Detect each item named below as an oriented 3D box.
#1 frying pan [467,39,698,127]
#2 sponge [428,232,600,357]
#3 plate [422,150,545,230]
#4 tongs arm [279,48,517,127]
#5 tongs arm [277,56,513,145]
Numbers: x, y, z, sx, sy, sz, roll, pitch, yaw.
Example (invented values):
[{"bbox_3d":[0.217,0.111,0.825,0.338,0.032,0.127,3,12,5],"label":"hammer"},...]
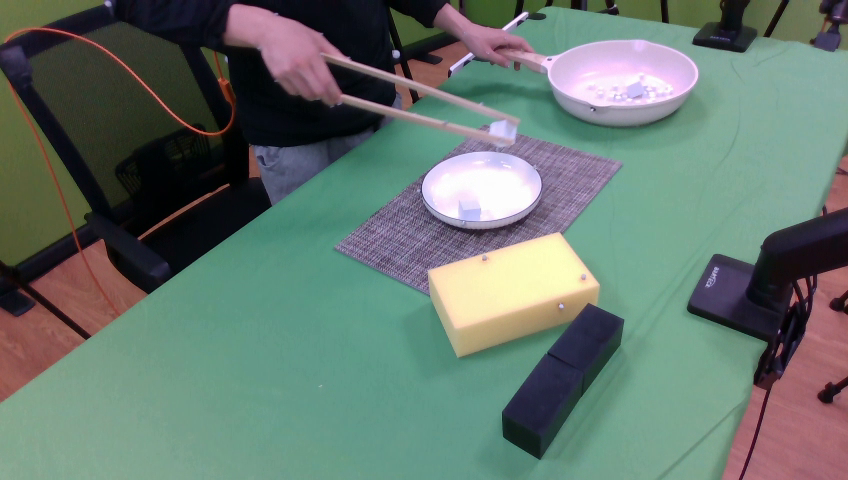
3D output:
[{"bbox_3d":[0.312,-0.359,1.277,0.485,0.103,0.307,23,48,19],"label":"frying pan"},{"bbox_3d":[0.120,0.071,0.834,0.207,0.061,0.117,-16,43,-12],"label":"sponge"},{"bbox_3d":[0.101,-0.082,1.031,0.207,0.039,0.206,-4,40,4],"label":"plate"},{"bbox_3d":[-0.036,-0.240,0.962,0.389,0.027,0.028,16,85,-7],"label":"tongs arm"},{"bbox_3d":[-0.042,-0.218,0.958,0.386,0.026,0.050,12,82,-8],"label":"tongs arm"}]
